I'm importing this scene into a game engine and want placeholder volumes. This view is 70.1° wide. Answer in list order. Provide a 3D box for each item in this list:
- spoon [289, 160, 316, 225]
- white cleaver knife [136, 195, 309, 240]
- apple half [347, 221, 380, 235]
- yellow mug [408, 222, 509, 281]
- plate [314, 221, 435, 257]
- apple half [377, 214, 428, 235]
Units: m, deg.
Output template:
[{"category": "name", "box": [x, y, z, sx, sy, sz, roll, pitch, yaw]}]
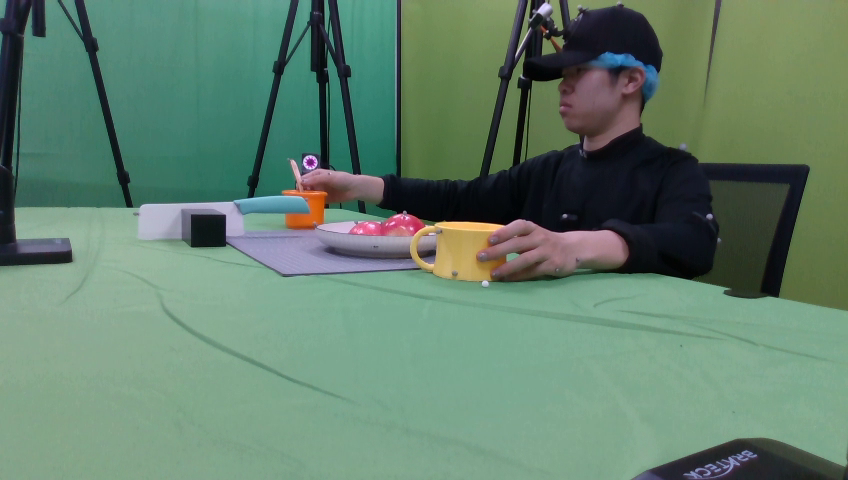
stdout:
[{"category": "spoon", "box": [-0.260, -0.102, 1.268, 0.042, 0.193, 0.021, 2, -38, -28]}, {"category": "white cleaver knife", "box": [-0.337, -0.039, 1.037, 0.288, 0.066, 0.021, -6, 15, -29]}, {"category": "apple half", "box": [-0.089, -0.014, 0.985, 0.081, 0.033, 0.081, 5, 6, 0]}, {"category": "yellow mug", "box": [0.044, 0.012, 0.784, 0.131, 0.064, 0.100, 2, 6, 4]}, {"category": "plate", "box": [-0.067, -0.002, 0.948, 0.209, 0.038, 0.209, 3, 7, 0]}, {"category": "apple half", "box": [-0.034, -0.013, 0.924, 0.080, 0.053, 0.075, 5, 10, 16]}]
